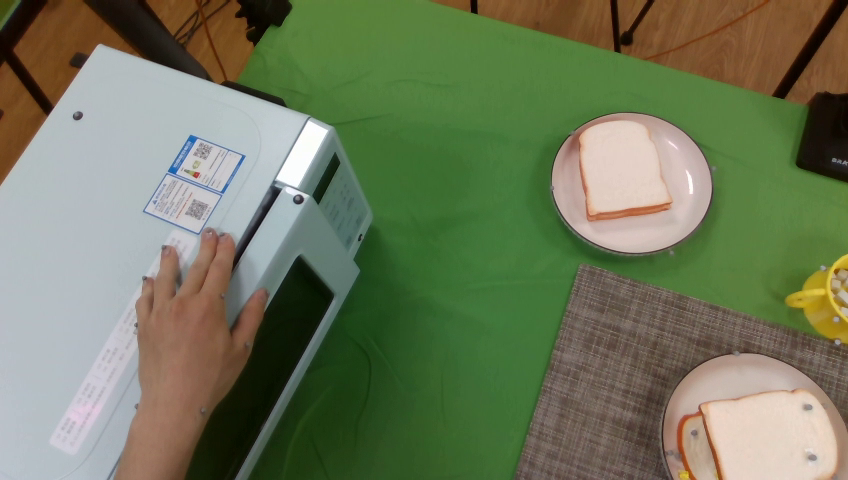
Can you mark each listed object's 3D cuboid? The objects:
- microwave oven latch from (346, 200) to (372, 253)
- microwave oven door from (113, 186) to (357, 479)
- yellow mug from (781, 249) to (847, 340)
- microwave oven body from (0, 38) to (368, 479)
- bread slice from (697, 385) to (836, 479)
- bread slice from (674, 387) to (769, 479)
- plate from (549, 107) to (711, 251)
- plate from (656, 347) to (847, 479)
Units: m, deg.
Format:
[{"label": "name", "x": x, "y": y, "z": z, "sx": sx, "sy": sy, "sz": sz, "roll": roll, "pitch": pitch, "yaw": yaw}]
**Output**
[{"label": "microwave oven latch", "x": -0.097, "y": -0.019, "z": 0.807, "sx": 0.030, "sy": 0.030, "sz": 0.079, "roll": 23, "pitch": 75, "yaw": 13}, {"label": "microwave oven door", "x": -0.190, "y": 0.140, "z": 0.651, "sx": 0.039, "sy": 0.245, "sz": 0.354, "roll": 23, "pitch": 74, "yaw": 13}, {"label": "yellow mug", "x": 0.500, "y": 0.066, "z": 0.726, "sx": 0.131, "sy": 0.064, "sz": 0.099, "roll": -1, "pitch": 70, "yaw": 6}, {"label": "microwave oven body", "x": -0.312, "y": 0.052, "z": 0.699, "sx": 0.325, "sy": 0.262, "sz": 0.440, "roll": 21, "pitch": 74, "yaw": 12}, {"label": "bread slice", "x": 0.362, "y": 0.206, "z": 0.637, "sx": 0.134, "sy": 0.018, "sz": 0.106, "roll": -13, "pitch": 76, "yaw": -6}, {"label": "bread slice", "x": 0.357, "y": 0.233, "z": 0.693, "sx": 0.131, "sy": 0.019, "sz": 0.104, "roll": -12, "pitch": 69, "yaw": 0}, {"label": "plate", "x": 0.271, "y": -0.080, "z": 0.814, "sx": 0.207, "sy": 0.039, "sz": 0.206, "roll": -2, "pitch": 70, "yaw": 5}, {"label": "plate", "x": 0.369, "y": 0.228, "z": 0.691, "sx": 0.209, "sy": 0.038, "sz": 0.207, "roll": -2, "pitch": 70, "yaw": 5}]
